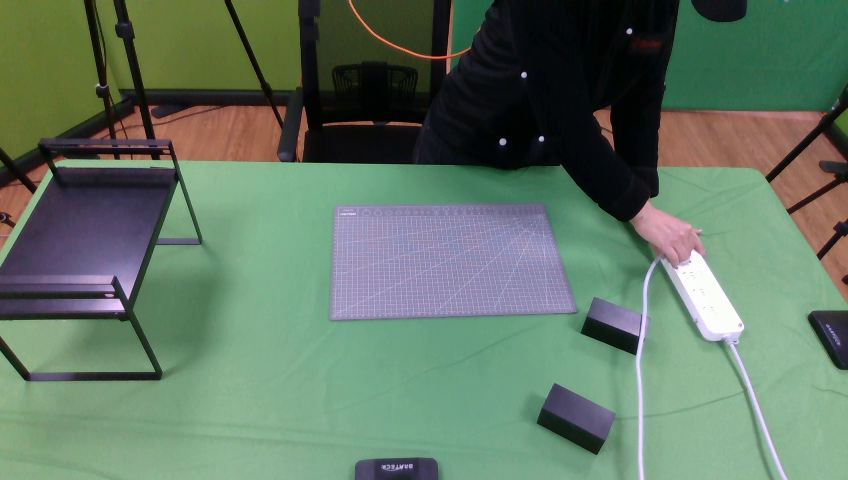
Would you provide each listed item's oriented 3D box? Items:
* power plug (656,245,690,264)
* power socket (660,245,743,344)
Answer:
[{"bbox_3d":[0.476,0.031,1.170,0.072,0.053,0.035,2,46,2],"label":"power plug"},{"bbox_3d":[0.516,0.094,1.136,0.072,0.033,0.225,-4,47,-7],"label":"power socket"}]
